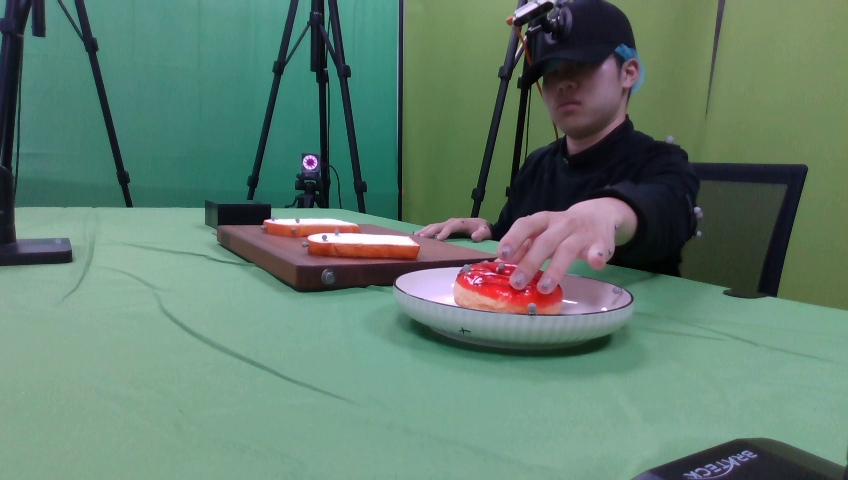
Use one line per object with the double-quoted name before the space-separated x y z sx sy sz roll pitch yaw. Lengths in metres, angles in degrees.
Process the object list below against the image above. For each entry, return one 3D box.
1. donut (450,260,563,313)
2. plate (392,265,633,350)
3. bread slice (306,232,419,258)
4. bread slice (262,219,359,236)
"donut" 0.072 0.046 0.533 0.099 0.048 0.099 6 8 -1
"plate" 0.074 0.057 0.533 0.209 0.038 0.209 2 7 0
"bread slice" -0.077 0.005 0.747 0.135 0.018 0.106 2 7 -12
"bread slice" -0.179 -0.021 0.931 0.132 0.019 0.104 -1 7 -35
